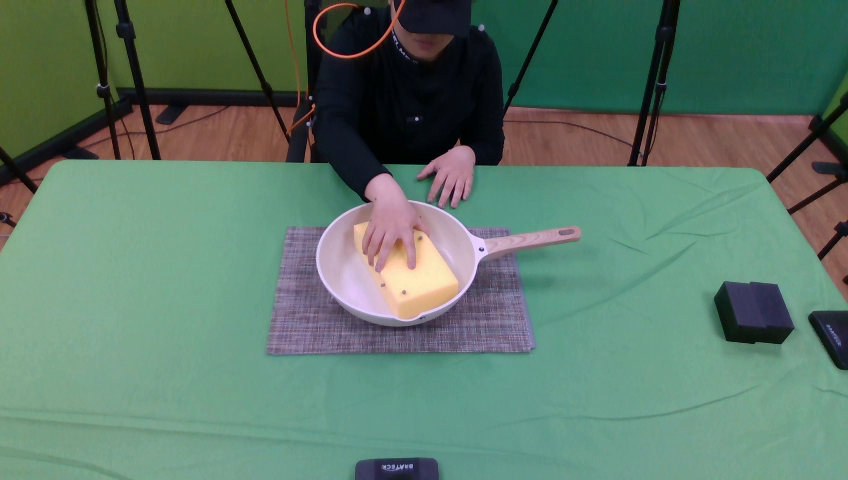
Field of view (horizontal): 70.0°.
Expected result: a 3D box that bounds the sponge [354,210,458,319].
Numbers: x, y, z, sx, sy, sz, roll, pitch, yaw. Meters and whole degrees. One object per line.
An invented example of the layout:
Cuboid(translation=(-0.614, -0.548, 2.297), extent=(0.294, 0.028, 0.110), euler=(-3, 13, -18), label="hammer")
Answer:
Cuboid(translation=(-0.037, 0.044, 1.116), extent=(0.118, 0.061, 0.205), euler=(-19, 49, -19), label="sponge")

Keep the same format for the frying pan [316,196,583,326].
Cuboid(translation=(0.054, 0.027, 1.114), extent=(0.488, 0.103, 0.304), euler=(-9, 48, -1), label="frying pan")
